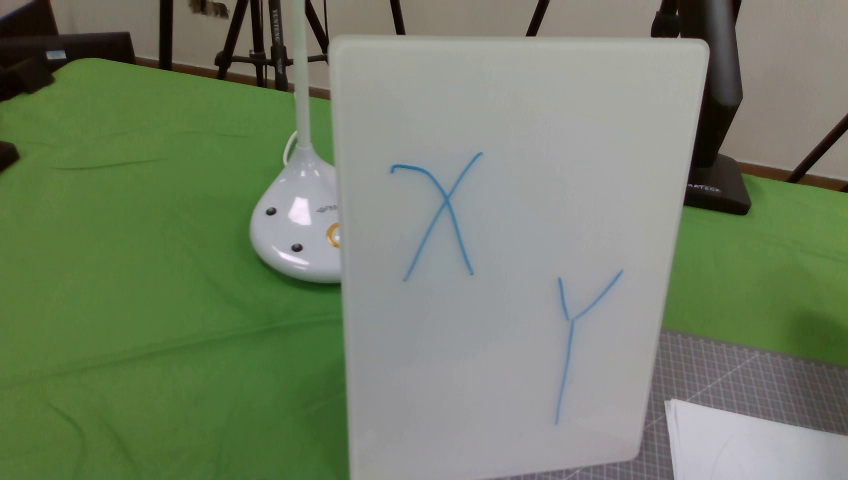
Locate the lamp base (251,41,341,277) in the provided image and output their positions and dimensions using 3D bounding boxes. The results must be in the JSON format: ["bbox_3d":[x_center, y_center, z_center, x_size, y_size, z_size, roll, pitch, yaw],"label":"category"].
[{"bbox_3d":[-0.097,-0.084,0.581,0.161,0.182,0.177,-22,46,-30],"label":"lamp base"}]

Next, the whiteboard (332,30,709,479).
[{"bbox_3d":[0.046,0.006,0.444,0.218,0.307,0.142,-3,22,-10],"label":"whiteboard"}]

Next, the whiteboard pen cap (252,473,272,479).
[{"bbox_3d":[-0.103,0.173,0.406,0.033,0.018,0.018,31,46,30],"label":"whiteboard pen cap"}]
